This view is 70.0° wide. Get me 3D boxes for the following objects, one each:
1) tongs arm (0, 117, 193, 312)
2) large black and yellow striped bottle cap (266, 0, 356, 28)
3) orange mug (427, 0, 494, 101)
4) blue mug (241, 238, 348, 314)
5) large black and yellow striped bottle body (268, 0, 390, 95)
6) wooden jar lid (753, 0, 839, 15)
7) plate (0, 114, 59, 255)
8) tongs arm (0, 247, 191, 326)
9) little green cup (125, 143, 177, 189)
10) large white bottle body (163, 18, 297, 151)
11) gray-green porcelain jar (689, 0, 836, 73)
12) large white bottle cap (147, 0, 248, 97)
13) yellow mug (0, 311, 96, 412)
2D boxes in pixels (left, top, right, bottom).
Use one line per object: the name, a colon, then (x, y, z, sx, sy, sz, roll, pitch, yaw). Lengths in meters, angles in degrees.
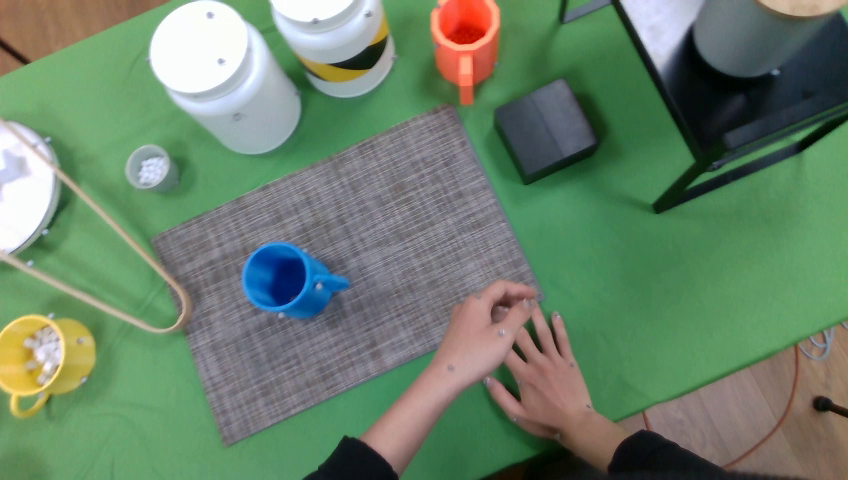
tongs arm: (-0.449, -0.042, 0.820, 0.387, 0.028, 0.028, 42, 77, 4)
large black and yellow striped bottle cap: (-0.130, -0.300, 0.696, 0.115, 0.019, 0.114, -1, 79, 4)
orange mug: (0.050, -0.254, 0.802, 0.083, 0.101, 0.125, -2, 75, 5)
blue mug: (-0.153, 0.048, 0.756, 0.116, 0.106, 0.082, 1, 79, 5)
large black and yellow striped bottle body: (-0.121, -0.283, 0.779, 0.130, 0.185, 0.130, -1, 79, 5)
wooden jar lid: (0.314, -0.240, 0.515, 0.108, 0.021, 0.108, -1, 82, 6)
plate: (-0.611, -0.073, 0.857, 0.207, 0.039, 0.207, -1, 80, 5)
tongs arm: (-0.495, 0.027, 0.808, 0.384, 0.026, 0.050, 28, 79, 2)
little green cup: (-0.376, -0.100, 0.841, 0.061, 0.039, 0.061, -1, 80, 4)
large white bottle body: (-0.250, -0.203, 0.774, 0.130, 0.185, 0.130, -1, 79, 5)
gray-green porcelain jar: (0.320, -0.228, 0.576, 0.106, 0.127, 0.105, -1, 79, 6)
large white bottle cap: (-0.259, -0.219, 0.691, 0.115, 0.018, 0.114, -1, 80, 5)
yellow mug: (-0.500, 0.159, 0.790, 0.100, 0.064, 0.130, 14, 82, 7)
